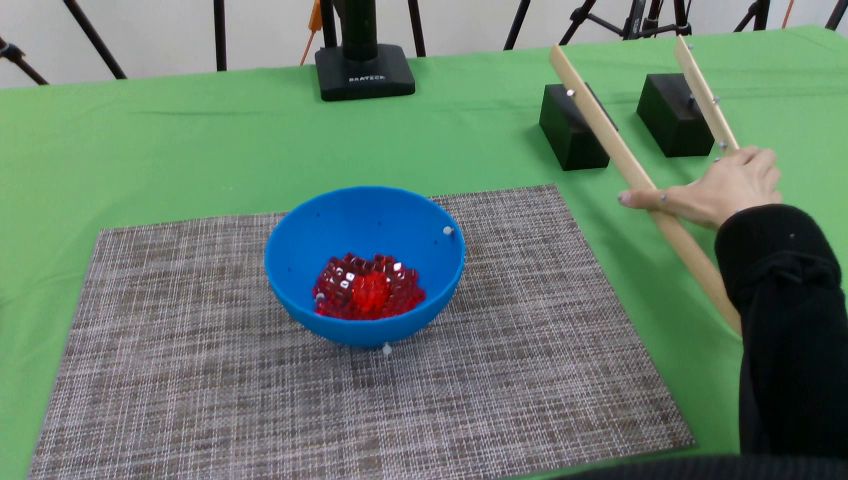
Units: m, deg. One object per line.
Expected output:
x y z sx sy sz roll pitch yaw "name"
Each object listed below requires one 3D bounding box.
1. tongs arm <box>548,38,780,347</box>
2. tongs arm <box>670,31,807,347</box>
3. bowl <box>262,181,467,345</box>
0.206 -0.068 0.582 0.028 0.028 0.383 -11 56 -18 "tongs arm"
0.286 -0.076 0.594 0.051 0.027 0.381 -1 55 -7 "tongs arm"
-0.045 0.030 0.478 0.151 0.077 0.150 1 44 0 "bowl"
